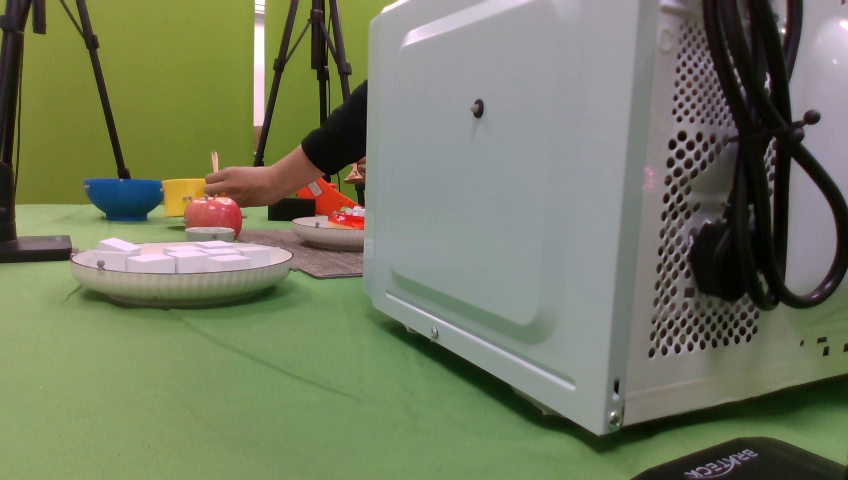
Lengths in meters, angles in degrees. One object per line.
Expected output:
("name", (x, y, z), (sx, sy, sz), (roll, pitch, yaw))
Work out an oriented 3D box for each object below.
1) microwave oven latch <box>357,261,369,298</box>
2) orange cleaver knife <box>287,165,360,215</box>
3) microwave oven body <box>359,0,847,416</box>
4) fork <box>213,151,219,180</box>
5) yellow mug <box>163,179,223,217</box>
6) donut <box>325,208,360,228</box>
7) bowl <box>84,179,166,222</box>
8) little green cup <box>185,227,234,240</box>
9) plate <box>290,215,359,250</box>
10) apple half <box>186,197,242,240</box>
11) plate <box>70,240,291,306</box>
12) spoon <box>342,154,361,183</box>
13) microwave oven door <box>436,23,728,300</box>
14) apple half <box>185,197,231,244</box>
("microwave oven latch", (-0.019, 0.033, 0.530), (0.079, 0.029, 0.030), (-1, 7, -26))
("orange cleaver knife", (-0.211, -0.092, 1.382), (0.212, 0.077, 0.012), (33, 1, -15))
("microwave oven body", (0.211, -0.047, 0.474), (0.444, 0.260, 0.324), (-1, 7, -28))
("fork", (-0.494, -0.143, 1.442), (0.028, 0.018, 0.206), (-2, 52, -20))
("yellow mug", (-0.411, -0.077, 1.103), (0.130, 0.064, 0.100), (-1, 2, 32))
("donut", (-0.110, -0.025, 0.974), (0.099, 0.048, 0.099), (6, 8, 0))
("bowl", (-0.584, -0.078, 1.194), (0.151, 0.077, 0.151), (3, 8, 0))
("little green cup", (-0.285, 0.005, 0.805), (0.061, 0.038, 0.061), (2, 8, 0))
("plate", (-0.110, -0.014, 0.973), (0.209, 0.038, 0.209), (3, 8, 0))
("apple half", (-0.307, -0.026, 0.904), (0.053, 0.074, 0.081), (14, 9, 37))
("plate", (-0.242, 0.031, 0.618), (0.208, 0.039, 0.207), (2, 8, 0))
("spoon", (-0.149, -0.160, 1.313), (0.041, 0.021, 0.193), (-11, 27, 4))
("microwave oven door", (0.180, -0.073, 0.621), (0.358, 0.243, 0.039), (-2, 9, -29))
("apple half", (-0.337, -0.031, 0.927), (0.032, 0.081, 0.082), (13, 12, 37))
